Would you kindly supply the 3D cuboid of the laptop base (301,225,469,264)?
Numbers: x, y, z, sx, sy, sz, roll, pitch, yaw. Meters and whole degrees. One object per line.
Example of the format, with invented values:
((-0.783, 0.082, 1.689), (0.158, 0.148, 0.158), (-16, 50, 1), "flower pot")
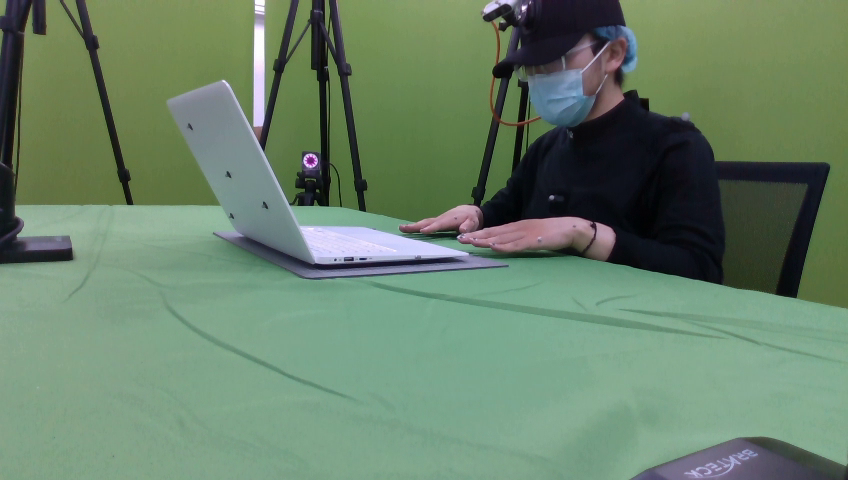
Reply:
((-0.124, 0.005, 0.936), (0.237, 0.023, 0.352), (2, 6, -33), "laptop base")

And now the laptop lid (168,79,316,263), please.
((-0.264, -0.093, 0.831), (0.013, 0.242, 0.355), (-33, 25, -25), "laptop lid")
